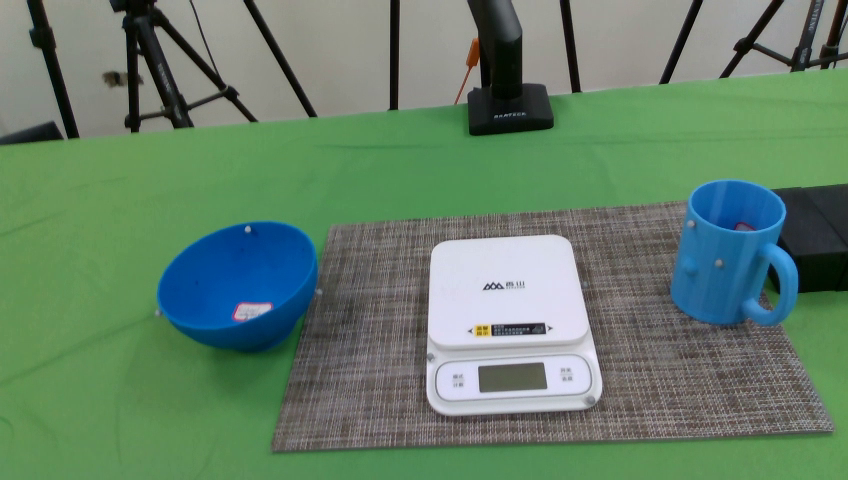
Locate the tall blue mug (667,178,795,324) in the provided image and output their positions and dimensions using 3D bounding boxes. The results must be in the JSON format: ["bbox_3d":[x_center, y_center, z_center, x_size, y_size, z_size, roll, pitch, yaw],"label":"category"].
[{"bbox_3d":[0.278,0.015,0.537,0.106,0.109,0.077,25,50,34],"label":"tall blue mug"}]

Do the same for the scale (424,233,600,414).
[{"bbox_3d":[0.075,0.069,0.571,0.148,0.032,0.199,-4,40,6],"label":"scale"}]

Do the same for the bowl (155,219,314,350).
[{"bbox_3d":[-0.176,0.056,0.601,0.151,0.077,0.150,-5,40,4],"label":"bowl"}]
